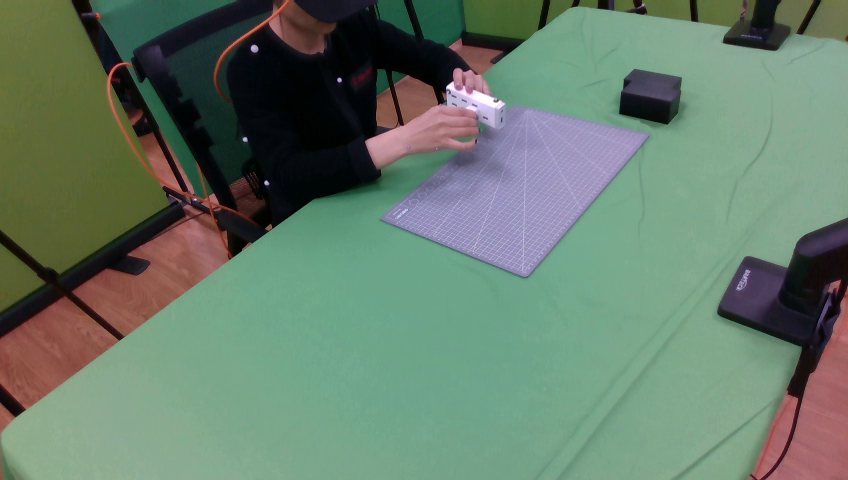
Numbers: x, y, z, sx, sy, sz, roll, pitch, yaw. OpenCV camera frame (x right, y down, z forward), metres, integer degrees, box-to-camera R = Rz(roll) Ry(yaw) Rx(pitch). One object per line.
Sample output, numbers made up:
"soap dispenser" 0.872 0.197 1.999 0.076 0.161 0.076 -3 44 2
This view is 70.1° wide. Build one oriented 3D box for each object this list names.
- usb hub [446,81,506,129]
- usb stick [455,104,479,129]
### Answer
"usb hub" 0.096 -0.254 1.132 0.124 0.050 0.025 30 57 29
"usb stick" 0.085 -0.231 1.115 0.059 0.027 0.021 -33 57 -25
